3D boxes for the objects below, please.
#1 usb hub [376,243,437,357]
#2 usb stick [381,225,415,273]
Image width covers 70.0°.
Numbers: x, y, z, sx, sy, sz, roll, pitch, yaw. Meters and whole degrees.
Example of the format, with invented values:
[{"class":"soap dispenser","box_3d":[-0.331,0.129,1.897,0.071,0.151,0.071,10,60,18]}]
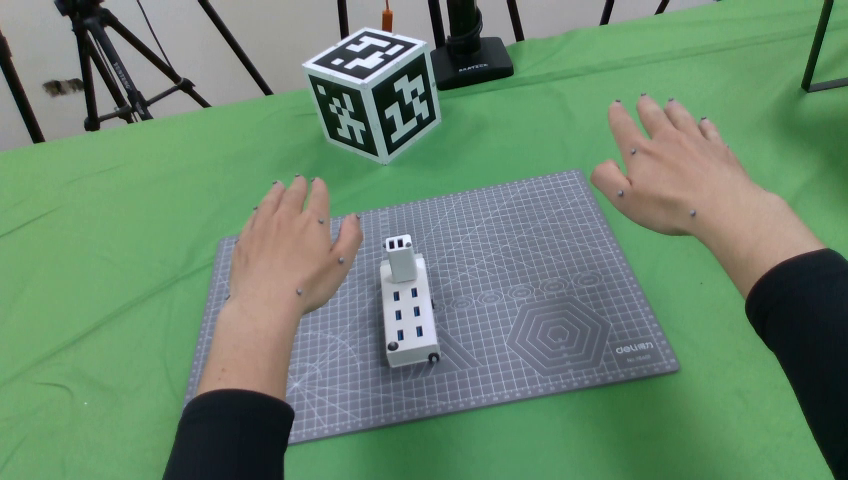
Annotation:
[{"class":"usb hub","box_3d":[-0.020,0.057,0.603,0.049,0.025,0.124,-12,43,2]},{"class":"usb stick","box_3d":[-0.024,0.014,0.606,0.027,0.060,0.021,-14,44,1]}]
